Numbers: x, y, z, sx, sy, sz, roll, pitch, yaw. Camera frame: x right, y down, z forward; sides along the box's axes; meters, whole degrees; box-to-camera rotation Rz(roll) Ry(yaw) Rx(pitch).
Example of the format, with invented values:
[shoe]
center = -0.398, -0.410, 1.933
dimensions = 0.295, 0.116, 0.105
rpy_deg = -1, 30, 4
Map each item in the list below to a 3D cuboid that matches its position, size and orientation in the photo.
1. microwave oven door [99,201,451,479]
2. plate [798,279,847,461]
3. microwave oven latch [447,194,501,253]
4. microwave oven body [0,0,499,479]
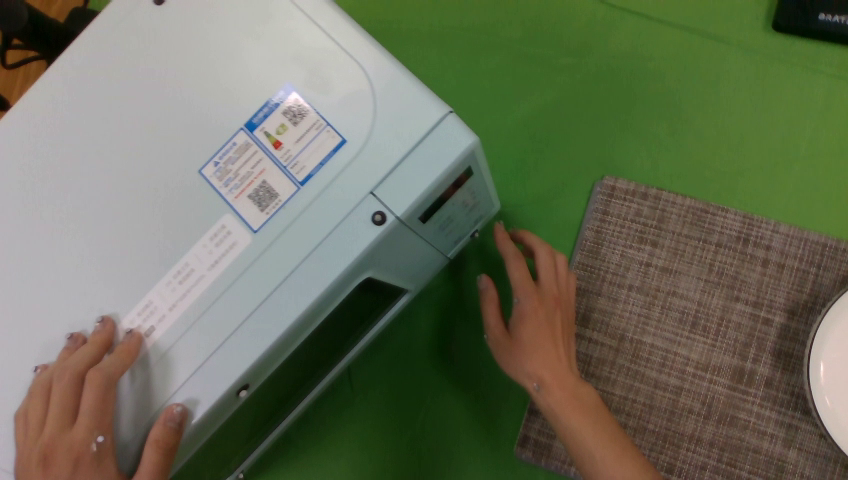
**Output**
[microwave oven door]
center = -0.129, 0.119, 0.532
dimensions = 0.039, 0.245, 0.356
rpy_deg = 44, 92, 15
[plate]
center = 0.445, 0.120, 0.541
dimensions = 0.207, 0.039, 0.207
rpy_deg = -1, 82, 11
[microwave oven latch]
center = 0.045, -0.023, 0.623
dimensions = 0.079, 0.029, 0.030
rpy_deg = -44, 77, 3
[microwave oven body]
center = -0.200, -0.010, 0.569
dimensions = 0.324, 0.261, 0.441
rpy_deg = 44, 93, 13
